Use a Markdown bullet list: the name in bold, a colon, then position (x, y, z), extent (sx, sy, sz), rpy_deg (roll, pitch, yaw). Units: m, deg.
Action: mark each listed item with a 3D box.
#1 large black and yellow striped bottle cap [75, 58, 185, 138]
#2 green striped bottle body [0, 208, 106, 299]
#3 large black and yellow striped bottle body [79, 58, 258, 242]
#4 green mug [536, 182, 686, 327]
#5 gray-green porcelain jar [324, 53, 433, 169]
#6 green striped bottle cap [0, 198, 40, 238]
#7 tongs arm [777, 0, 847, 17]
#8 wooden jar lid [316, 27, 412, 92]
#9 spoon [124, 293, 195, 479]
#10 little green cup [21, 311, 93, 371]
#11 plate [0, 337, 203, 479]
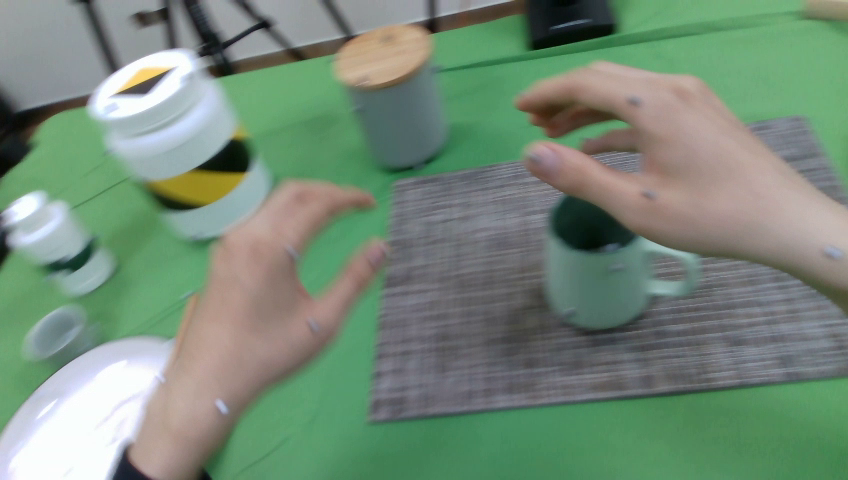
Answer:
- **large black and yellow striped bottle cap**: position (-0.309, -0.151, 0.637), extent (0.115, 0.019, 0.114), rpy_deg (-9, 48, 10)
- **green striped bottle body**: position (-0.429, 0.010, 0.693), extent (0.063, 0.120, 0.062), rpy_deg (-9, 49, 11)
- **large black and yellow striped bottle body**: position (-0.289, -0.100, 0.700), extent (0.130, 0.186, 0.129), rpy_deg (-8, 49, 10)
- **green mug**: position (0.156, 0.016, 0.513), extent (0.124, 0.106, 0.092), rpy_deg (10, 54, 24)
- **gray-green porcelain jar**: position (-0.049, -0.156, 0.713), extent (0.106, 0.128, 0.105), rpy_deg (-8, 49, 10)
- **green striped bottle cap**: position (-0.442, -0.024, 0.655), extent (0.044, 0.020, 0.044), rpy_deg (-6, 51, 8)
- **tongs arm**: position (0.572, -0.241, 0.623), extent (0.384, 0.028, 0.028), rpy_deg (22, 54, 41)
- **wooden jar lid**: position (-0.064, -0.195, 0.668), extent (0.108, 0.021, 0.107), rpy_deg (-8, 52, 10)
- **spoon**: position (-0.238, 0.132, 0.565), extent (0.041, 0.022, 0.192), rpy_deg (-6, 58, 10)
- **little green cup**: position (-0.391, 0.111, 0.650), extent (0.061, 0.039, 0.061), rpy_deg (-9, 47, 10)
- **plate**: position (-0.297, 0.187, 0.557), extent (0.209, 0.038, 0.207), rpy_deg (-9, 49, 10)
